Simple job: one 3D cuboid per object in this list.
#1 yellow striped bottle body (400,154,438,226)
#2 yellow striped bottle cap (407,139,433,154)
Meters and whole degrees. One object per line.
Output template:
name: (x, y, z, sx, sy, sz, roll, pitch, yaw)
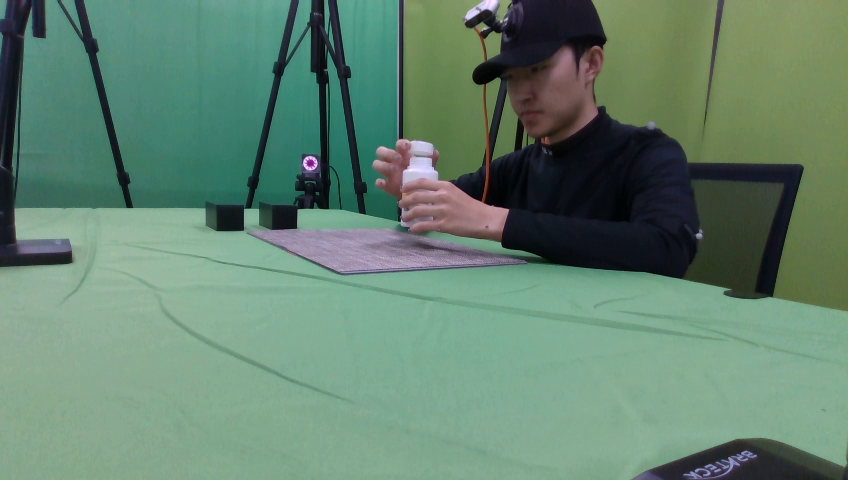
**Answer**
yellow striped bottle body: (-0.007, -0.085, 1.036, 0.063, 0.120, 0.063, 2, 3, 0)
yellow striped bottle cap: (-0.007, -0.159, 1.030, 0.044, 0.018, 0.044, 5, -1, 0)
